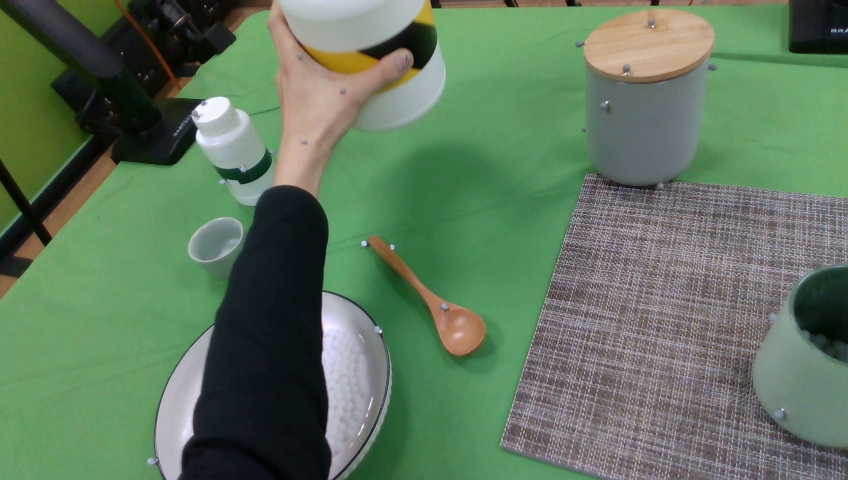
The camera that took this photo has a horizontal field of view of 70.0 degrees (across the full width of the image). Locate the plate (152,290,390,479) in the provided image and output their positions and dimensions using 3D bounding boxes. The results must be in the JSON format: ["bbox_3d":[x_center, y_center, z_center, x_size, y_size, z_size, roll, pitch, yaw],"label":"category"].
[{"bbox_3d":[-0.126,0.137,0.522,0.209,0.038,0.207,-8,49,10],"label":"plate"}]

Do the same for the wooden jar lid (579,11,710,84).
[{"bbox_3d":[0.192,-0.165,0.534,0.108,0.021,0.107,-10,46,11],"label":"wooden jar lid"}]

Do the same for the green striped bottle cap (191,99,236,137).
[{"bbox_3d":[-0.226,-0.131,0.652,0.044,0.020,0.044,-6,52,9],"label":"green striped bottle cap"}]

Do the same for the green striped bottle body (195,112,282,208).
[{"bbox_3d":[-0.214,-0.098,0.690,0.063,0.120,0.062,-8,49,10],"label":"green striped bottle body"}]

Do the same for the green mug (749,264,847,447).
[{"bbox_3d":[0.285,0.085,0.392,0.124,0.106,0.092,30,64,34],"label":"green mug"}]

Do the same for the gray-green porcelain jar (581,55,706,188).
[{"bbox_3d":[0.205,-0.122,0.578,0.106,0.128,0.105,-8,46,8],"label":"gray-green porcelain jar"}]

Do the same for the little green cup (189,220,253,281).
[{"bbox_3d":[-0.216,0.013,0.653,0.061,0.039,0.061,-8,50,9],"label":"little green cup"}]

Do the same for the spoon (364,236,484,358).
[{"bbox_3d":[-0.007,0.045,0.574,0.041,0.022,0.191,-46,52,-1],"label":"spoon"}]

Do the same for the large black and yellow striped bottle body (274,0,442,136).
[{"bbox_3d":[-0.061,-0.204,0.571,0.130,0.186,0.129,-6,56,10],"label":"large black and yellow striped bottle body"}]
